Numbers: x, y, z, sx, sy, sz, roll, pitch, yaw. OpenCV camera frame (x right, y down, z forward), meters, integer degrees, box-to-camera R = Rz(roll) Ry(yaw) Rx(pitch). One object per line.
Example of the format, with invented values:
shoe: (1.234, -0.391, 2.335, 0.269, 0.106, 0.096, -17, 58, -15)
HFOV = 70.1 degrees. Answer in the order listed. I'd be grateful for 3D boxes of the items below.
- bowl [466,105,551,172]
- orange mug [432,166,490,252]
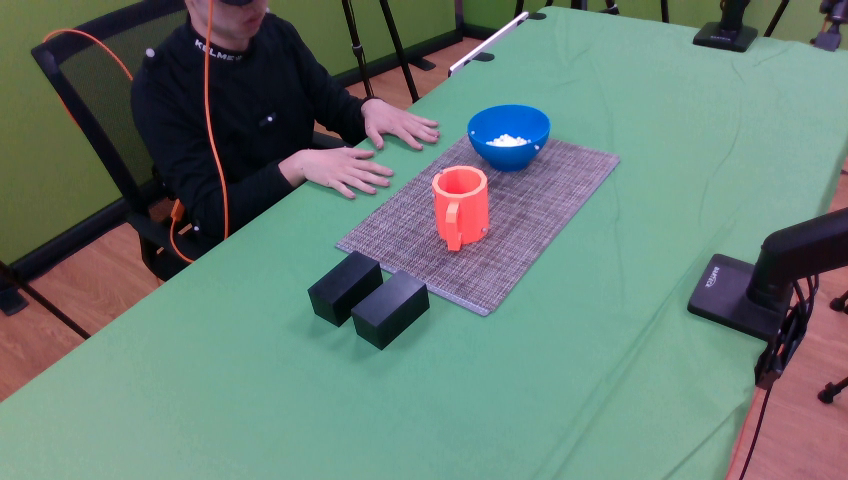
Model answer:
bowl: (0.155, -0.177, 1.105, 0.151, 0.077, 0.150, -4, 40, 3)
orange mug: (0.055, -0.045, 0.948, 0.083, 0.101, 0.126, 4, 38, 14)
